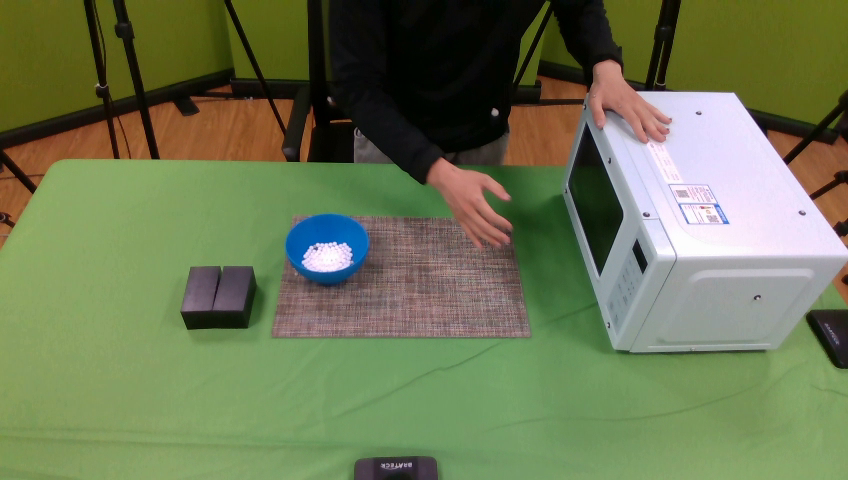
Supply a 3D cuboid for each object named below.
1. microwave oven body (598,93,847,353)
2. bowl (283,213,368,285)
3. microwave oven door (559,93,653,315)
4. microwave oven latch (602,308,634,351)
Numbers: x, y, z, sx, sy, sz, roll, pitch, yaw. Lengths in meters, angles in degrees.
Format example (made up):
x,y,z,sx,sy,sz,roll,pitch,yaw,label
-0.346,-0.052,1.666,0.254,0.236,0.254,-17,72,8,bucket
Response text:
x,y,z,sx,sy,sz,roll,pitch,yaw,label
0.475,-0.041,1.109,0.326,0.261,0.438,-1,45,-4,microwave oven body
-0.178,0.030,1.114,0.151,0.077,0.150,3,45,-2,bowl
0.327,-0.074,1.123,0.039,0.245,0.353,-1,46,-5,microwave oven door
0.332,0.153,1.044,0.030,0.029,0.078,-1,45,-4,microwave oven latch
